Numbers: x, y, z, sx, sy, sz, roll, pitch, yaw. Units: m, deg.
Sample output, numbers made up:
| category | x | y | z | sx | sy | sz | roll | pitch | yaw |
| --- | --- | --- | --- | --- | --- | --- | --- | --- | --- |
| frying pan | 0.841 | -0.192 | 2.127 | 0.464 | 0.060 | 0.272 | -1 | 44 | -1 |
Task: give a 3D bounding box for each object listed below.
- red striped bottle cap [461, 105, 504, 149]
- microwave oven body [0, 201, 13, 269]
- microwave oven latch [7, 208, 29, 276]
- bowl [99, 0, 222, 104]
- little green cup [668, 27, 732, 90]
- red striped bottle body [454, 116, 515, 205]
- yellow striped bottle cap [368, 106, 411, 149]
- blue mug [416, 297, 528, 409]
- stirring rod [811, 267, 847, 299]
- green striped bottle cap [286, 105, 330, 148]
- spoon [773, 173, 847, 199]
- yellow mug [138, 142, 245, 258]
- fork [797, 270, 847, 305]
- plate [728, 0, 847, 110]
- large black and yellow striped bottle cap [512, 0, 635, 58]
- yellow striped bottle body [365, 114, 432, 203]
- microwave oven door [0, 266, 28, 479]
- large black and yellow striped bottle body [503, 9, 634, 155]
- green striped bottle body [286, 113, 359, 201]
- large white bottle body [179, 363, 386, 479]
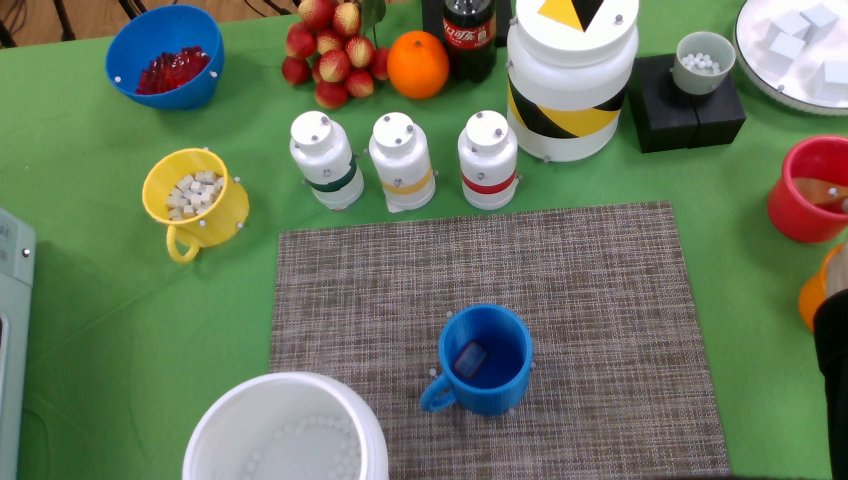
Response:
| category | x | y | z | sx | sy | sz | roll | pitch | yaw |
| --- | --- | --- | --- | --- | --- | --- | --- | --- | --- |
| red striped bottle cap | 0.060 | -0.115 | 0.612 | 0.044 | 0.018 | 0.044 | -1 | 65 | 2 |
| microwave oven body | -0.602 | 0.154 | 0.545 | 0.326 | 0.262 | 0.438 | -13 | 66 | 0 |
| microwave oven latch | -0.482 | 0.004 | 0.704 | 0.030 | 0.030 | 0.078 | -11 | 66 | 1 |
| bowl | -0.327 | -0.231 | 0.789 | 0.151 | 0.077 | 0.150 | -2 | 66 | 5 |
| little green cup | 0.301 | -0.198 | 0.667 | 0.061 | 0.039 | 0.061 | -2 | 64 | 3 |
| red striped bottle body | 0.067 | -0.092 | 0.659 | 0.063 | 0.121 | 0.062 | -4 | 64 | 8 |
| yellow striped bottle cap | -0.035 | -0.116 | 0.623 | 0.044 | 0.019 | 0.044 | -1 | 63 | 2 |
| blue mug | 0.042 | 0.119 | 0.572 | 0.116 | 0.107 | 0.081 | -34 | 65 | -8 |
| stirring rod | 0.401 | 0.063 | 0.542 | 0.014 | 0.006 | 0.175 | -2 | 23 | 3 |
| green striped bottle cap | -0.122 | -0.119 | 0.635 | 0.044 | 0.020 | 0.044 | -2 | 66 | 4 |
| spoon | 0.416 | -0.048 | 0.558 | 0.041 | 0.192 | 0.022 | -33 | 107 | -16 |
| yellow mug | -0.273 | -0.041 | 0.705 | 0.100 | 0.064 | 0.130 | 5 | 67 | 9 |
| fork | 0.431 | 0.062 | 0.532 | 0.028 | 0.019 | 0.205 | -42 | 24 | -10 |
| plate | 0.469 | -0.237 | 0.722 | 0.209 | 0.038 | 0.207 | -2 | 66 | 6 |
| large black and yellow striped bottle cap | 0.142 | -0.225 | 0.579 | 0.115 | 0.019 | 0.114 | -3 | 67 | 8 |
| yellow striped bottle body | -0.028 | -0.095 | 0.671 | 0.063 | 0.121 | 0.062 | -3 | 65 | 6 |
| microwave oven door | -0.452 | 0.157 | 0.521 | 0.039 | 0.246 | 0.352 | -13 | 65 | 1 |
| large black and yellow striped bottle body | 0.151 | -0.191 | 0.658 | 0.130 | 0.185 | 0.129 | -3 | 66 | 6 |
| green striped bottle body | -0.115 | -0.098 | 0.682 | 0.063 | 0.120 | 0.062 | -2 | 66 | 6 |
| large white bottle body | -0.093 | 0.165 | 0.437 | 0.131 | 0.186 | 0.129 | 1 | 64 | -2 |
